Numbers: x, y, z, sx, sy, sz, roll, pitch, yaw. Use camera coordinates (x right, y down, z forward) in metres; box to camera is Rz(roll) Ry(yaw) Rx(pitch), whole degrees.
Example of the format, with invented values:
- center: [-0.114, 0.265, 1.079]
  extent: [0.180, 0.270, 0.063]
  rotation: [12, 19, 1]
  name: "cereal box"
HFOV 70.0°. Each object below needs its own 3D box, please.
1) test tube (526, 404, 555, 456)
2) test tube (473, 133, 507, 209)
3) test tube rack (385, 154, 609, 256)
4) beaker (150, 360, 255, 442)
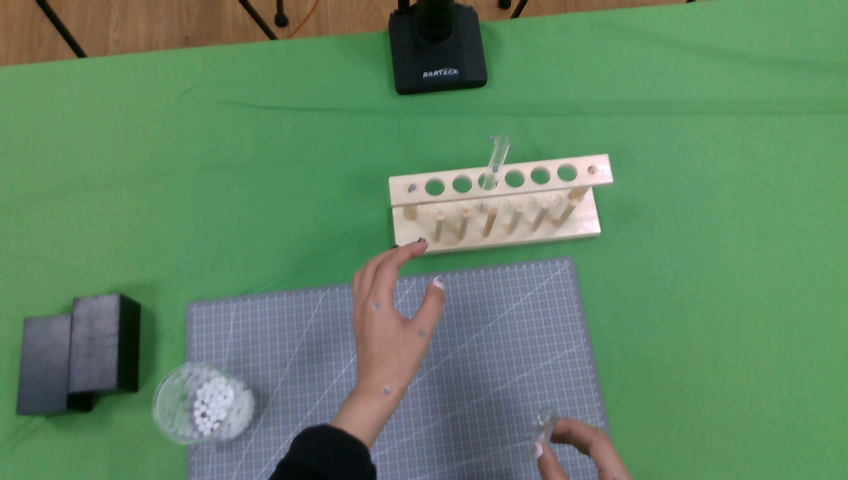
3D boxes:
- center: [0.103, 0.173, 0.544]
  extent: [0.017, 0.152, 0.017]
  rotation: [-3, 60, 5]
  name: "test tube"
- center: [0.069, -0.069, 0.649]
  extent: [0.017, 0.151, 0.017]
  rotation: [1, 68, -3]
  name: "test tube"
- center: [0.081, -0.038, 0.691]
  extent: [0.242, 0.085, 0.066]
  rotation: [-6, 72, -2]
  name: "test tube rack"
- center: [-0.215, 0.163, 0.612]
  extent: [0.084, 0.101, 0.073]
  rotation: [-14, 73, -5]
  name: "beaker"
